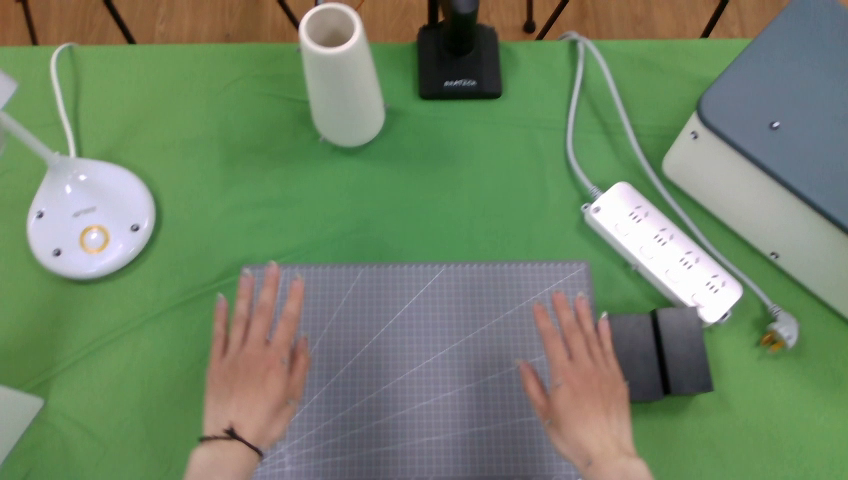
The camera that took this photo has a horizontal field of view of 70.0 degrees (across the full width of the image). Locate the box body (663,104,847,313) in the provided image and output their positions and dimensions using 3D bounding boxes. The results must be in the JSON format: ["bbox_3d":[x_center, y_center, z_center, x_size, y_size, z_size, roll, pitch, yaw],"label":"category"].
[{"bbox_3d":[0.520,-0.097,0.751,0.362,0.161,0.254,42,75,12],"label":"box body"}]

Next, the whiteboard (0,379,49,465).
[{"bbox_3d":[-0.594,0.179,0.589,0.143,0.308,0.216,22,71,27],"label":"whiteboard"}]

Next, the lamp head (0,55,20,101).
[{"bbox_3d":[-0.388,-0.127,0.442,0.112,0.124,0.111,-26,38,23],"label":"lamp head"}]

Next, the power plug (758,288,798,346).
[{"bbox_3d":[0.433,0.101,0.761,0.052,0.035,0.072,-32,31,1],"label":"power plug"}]

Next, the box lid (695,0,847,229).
[{"bbox_3d":[0.522,-0.121,0.681,0.369,0.015,0.263,42,76,12],"label":"box lid"}]

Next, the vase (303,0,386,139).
[{"bbox_3d":[-0.099,-0.210,0.759,0.098,0.201,0.097,1,69,-2],"label":"vase"}]

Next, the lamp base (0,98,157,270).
[{"bbox_3d":[-0.434,-0.073,0.713,0.160,0.181,0.178,-31,72,-11],"label":"lamp base"}]

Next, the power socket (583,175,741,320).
[{"bbox_3d":[0.305,0.007,0.780,0.072,0.033,0.225,-39,76,-14],"label":"power socket"}]
